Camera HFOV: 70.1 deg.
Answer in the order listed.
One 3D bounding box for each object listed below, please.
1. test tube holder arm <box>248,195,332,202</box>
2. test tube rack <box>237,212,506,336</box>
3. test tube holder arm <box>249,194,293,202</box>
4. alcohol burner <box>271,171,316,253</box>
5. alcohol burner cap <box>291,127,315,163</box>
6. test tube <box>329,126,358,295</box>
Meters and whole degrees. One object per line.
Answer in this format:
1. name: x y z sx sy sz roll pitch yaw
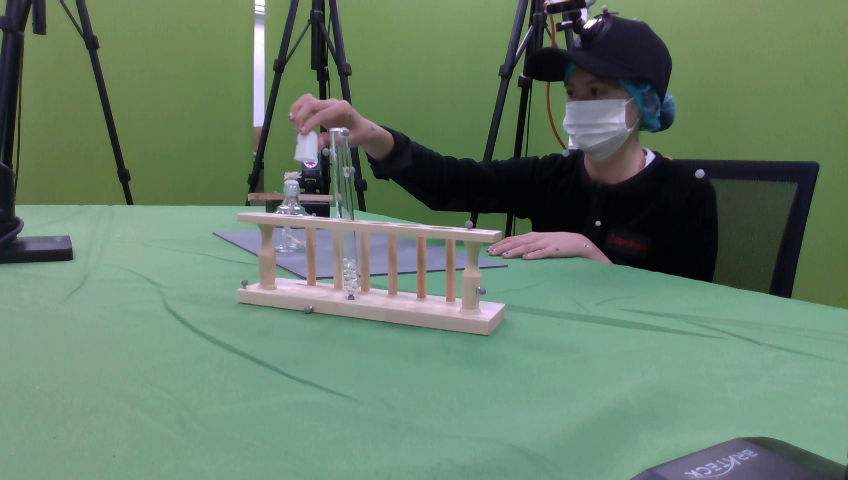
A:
1. test tube holder arm: -0.269 -0.085 1.229 0.179 0.015 0.013 -2 1 -37
2. test tube rack: -0.049 0.024 0.552 0.242 0.085 0.067 5 8 18
3. test tube holder arm: -0.302 -0.084 1.197 0.088 0.015 0.010 -2 1 -37
4. alcohol burner: -0.196 -0.041 0.884 0.078 0.119 0.078 3 5 0
5. alcohol burner cap: -0.167 -0.133 0.843 0.034 0.048 0.034 5 -2 1
6. test tube: -0.071 -0.025 0.534 0.017 0.150 0.017 -3 10 1
